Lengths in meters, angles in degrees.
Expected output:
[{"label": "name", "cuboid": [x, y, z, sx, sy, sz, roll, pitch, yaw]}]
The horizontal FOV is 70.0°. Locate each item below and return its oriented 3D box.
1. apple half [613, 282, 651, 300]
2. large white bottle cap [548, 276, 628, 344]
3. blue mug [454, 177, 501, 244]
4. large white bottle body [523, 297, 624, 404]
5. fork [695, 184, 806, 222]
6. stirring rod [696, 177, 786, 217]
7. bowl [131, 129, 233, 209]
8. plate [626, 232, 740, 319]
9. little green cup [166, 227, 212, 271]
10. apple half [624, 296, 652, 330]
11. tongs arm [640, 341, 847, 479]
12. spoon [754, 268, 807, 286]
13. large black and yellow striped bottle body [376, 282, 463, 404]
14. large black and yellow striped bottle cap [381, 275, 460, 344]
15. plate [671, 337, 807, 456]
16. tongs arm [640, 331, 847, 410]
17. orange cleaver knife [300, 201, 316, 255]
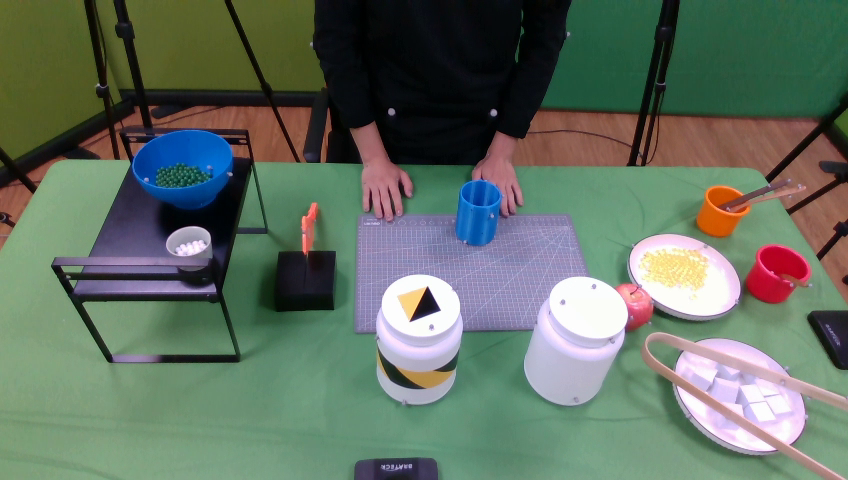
[{"label": "apple half", "cuboid": [0.356, 0.109, 1.086, 0.081, 0.075, 0.053, -14, 44, -12]}, {"label": "large white bottle cap", "cuboid": [0.240, 0.100, 0.890, 0.115, 0.018, 0.114, 3, 47, -3]}, {"label": "blue mug", "cuboid": [0.106, -0.067, 1.208, 0.082, 0.106, 0.116, 6, 46, 1]}, {"label": "large white bottle body", "cuboid": [0.235, 0.159, 0.952, 0.131, 0.185, 0.130, 2, 47, -2]}, {"label": "fork", "cuboid": [0.658, -0.074, 1.230, 0.207, 0.019, 0.028, -24, 34, 36]}, {"label": "stirring rod", "cuboid": [0.648, -0.087, 1.244, 0.176, 0.006, 0.014, -25, 50, 29]}, {"label": "bowl", "cuboid": [-0.381, -0.103, 0.978, 0.151, 0.077, 0.150, 2, 46, -2]}, {"label": "plate", "cuboid": [0.488, 0.071, 1.157, 0.209, 0.038, 0.208, 3, 46, -3]}, {"label": "little green cup", "cuboid": [-0.344, 0.014, 0.895, 0.061, 0.039, 0.061, 3, 46, -3]}, {"label": "apple half", "cuboid": [0.368, 0.135, 1.060, 0.081, 0.081, 0.032, -11, 43, -15]}, {"label": "tongs arm", "cuboid": [0.500, 0.278, 0.919, 0.386, 0.028, 0.028, 34, 59, 22]}, {"label": "spoon", "cuboid": [0.647, 0.065, 1.100, 0.041, 0.021, 0.194, 15, 3, 10]}, {"label": "large black and yellow striped bottle body", "cuboid": [-0.010, 0.155, 0.937, 0.131, 0.185, 0.130, 2, 47, -2]}, {"label": "large black and yellow striped bottle cap", "cuboid": [-0.005, 0.099, 0.875, 0.115, 0.019, 0.114, 2, 45, -2]}, {"label": "plate", "cuboid": [0.503, 0.254, 0.984, 0.208, 0.039, 0.206, 2, 46, -2]}, {"label": "tongs arm", "cuboid": [0.543, 0.226, 0.969, 0.384, 0.026, 0.050, 22, 52, 13]}, {"label": "orange cleaver knife", "cuboid": [-0.221, -0.027, 1.160, 0.012, 0.077, 0.210, -1, 15, -4]}]
